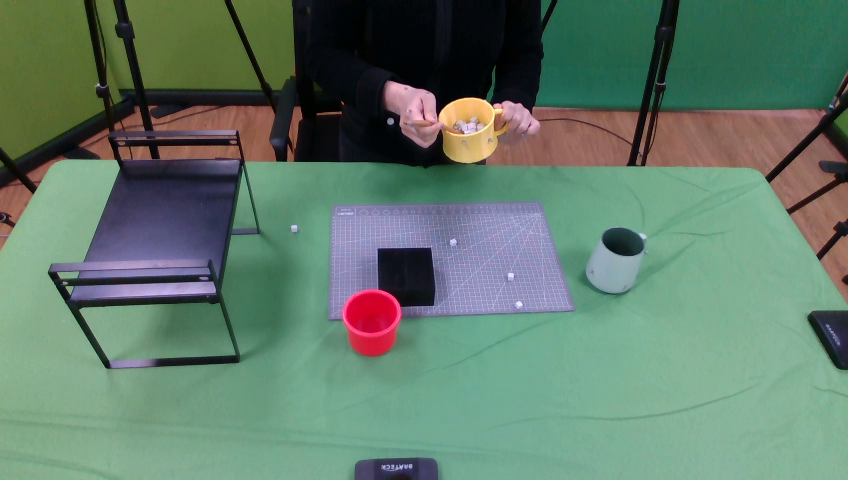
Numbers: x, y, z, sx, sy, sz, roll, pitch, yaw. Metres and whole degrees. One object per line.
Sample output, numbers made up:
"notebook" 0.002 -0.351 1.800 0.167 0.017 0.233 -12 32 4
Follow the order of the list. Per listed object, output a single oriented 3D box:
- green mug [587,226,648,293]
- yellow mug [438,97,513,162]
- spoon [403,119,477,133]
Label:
"green mug" 0.372 0.030 1.136 0.125 0.105 0.092 -27 53 -26
"yellow mug" 0.093 -0.200 1.070 0.131 0.064 0.099 -15 51 -2
"spoon" 0.030 -0.190 1.021 0.041 0.021 0.194 32 19 35
